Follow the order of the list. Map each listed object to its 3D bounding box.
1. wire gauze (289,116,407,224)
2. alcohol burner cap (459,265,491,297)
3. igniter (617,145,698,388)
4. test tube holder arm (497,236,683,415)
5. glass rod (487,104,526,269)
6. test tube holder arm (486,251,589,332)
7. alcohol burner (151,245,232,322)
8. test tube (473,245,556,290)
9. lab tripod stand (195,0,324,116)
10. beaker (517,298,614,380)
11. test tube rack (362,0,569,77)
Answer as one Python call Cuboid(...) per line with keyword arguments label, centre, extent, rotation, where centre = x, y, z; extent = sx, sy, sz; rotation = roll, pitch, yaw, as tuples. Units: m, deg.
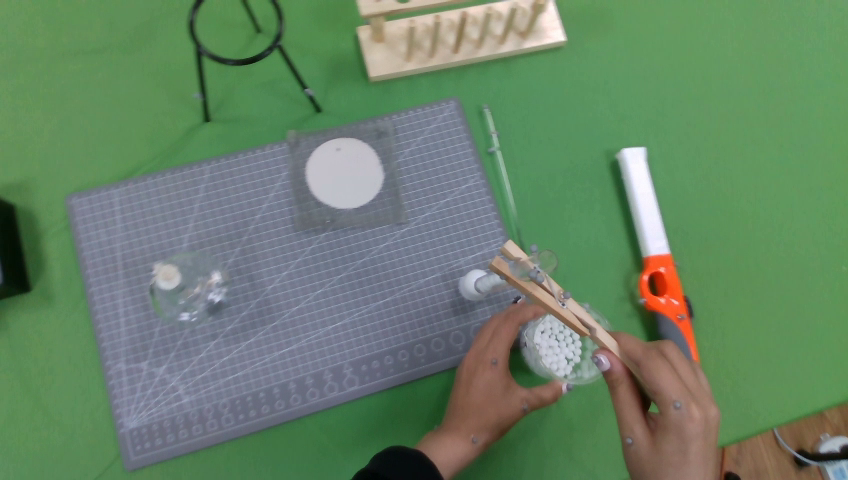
Cuboid(label="wire gauze", centre=(-0.086, -0.078, 0.682), extent=(0.125, 0.011, 0.121), rotation=(-5, 79, -7))
Cuboid(label="alcohol burner cap", centre=(0.057, 0.042, 0.651), extent=(0.034, 0.048, 0.033), rotation=(1, 77, -4))
Cuboid(label="igniter", centre=(0.262, 0.025, 0.682), extent=(0.057, 0.025, 0.275), rotation=(-5, 78, -16))
Cuboid(label="test tube holder arm", centre=(0.121, 0.063, 0.439), extent=(0.178, 0.015, 0.013), rotation=(43, 77, -1))
Cuboid(label="glass rod", centre=(0.096, -0.064, 0.696), extent=(0.008, 0.008, 0.199), rotation=(-11, 81, -7))
Cuboid(label="test tube holder arm", centre=(0.083, 0.038, 0.437), extent=(0.088, 0.015, 0.010), rotation=(36, 76, -2))
Cuboid(label="alcohol burner", centre=(-0.232, 0.039, 0.590), extent=(0.078, 0.119, 0.077), rotation=(1, 77, -2))
Cuboid(label="test tube", centre=(0.064, 0.024, 0.459), extent=(0.017, 0.150, 0.017), rotation=(2, 79, -11))
Cuboid(label="lab tripod stand", centre=(-0.180, -0.196, 0.638), extent=(0.148, 0.132, 0.148), rotation=(1, 79, -5))
Cuboid(label="beaker", centre=(0.131, 0.098, 0.596), extent=(0.084, 0.100, 0.073), rotation=(10, 79, 1))
Cuboid(label="test tube rack", centre=(0.054, -0.257, 0.696), extent=(0.243, 0.085, 0.066), rotation=(-12, 79, -7))
